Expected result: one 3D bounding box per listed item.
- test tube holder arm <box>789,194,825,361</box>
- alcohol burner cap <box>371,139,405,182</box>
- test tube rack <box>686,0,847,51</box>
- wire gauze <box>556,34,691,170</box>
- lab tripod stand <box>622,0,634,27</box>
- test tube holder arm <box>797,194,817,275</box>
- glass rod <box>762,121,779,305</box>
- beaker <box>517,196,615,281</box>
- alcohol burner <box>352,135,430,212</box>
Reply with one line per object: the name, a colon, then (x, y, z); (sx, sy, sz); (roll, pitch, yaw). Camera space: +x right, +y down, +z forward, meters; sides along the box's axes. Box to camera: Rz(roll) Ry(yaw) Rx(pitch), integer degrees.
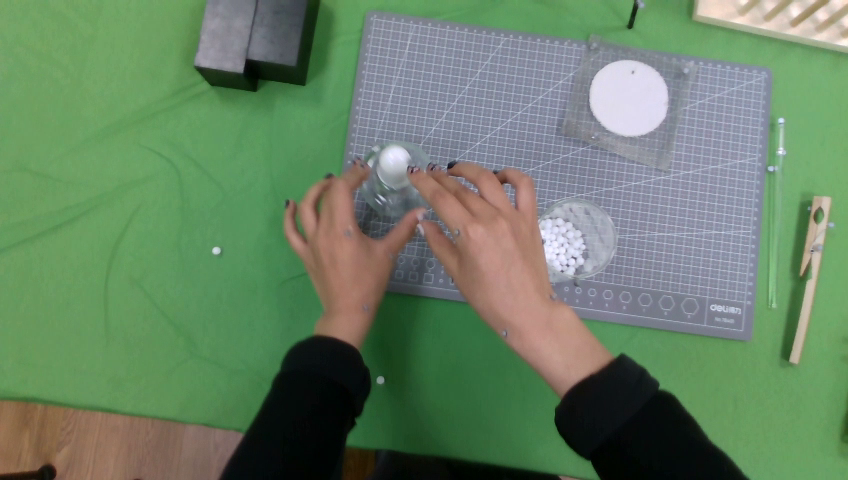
test tube holder arm: (0.402, 0.039, 0.635); (0.013, 0.015, 0.178); (7, 82, 35)
alcohol burner cap: (-0.032, -0.075, 0.552); (0.034, 0.048, 0.033); (1, 79, -5)
test tube rack: (0.416, -0.260, 0.637); (0.242, 0.085, 0.066); (11, 83, 0)
wire gauze: (0.216, -0.152, 0.657); (0.125, 0.011, 0.121); (19, 85, 0)
lab tripod stand: (0.172, -0.296, 0.611); (0.148, 0.131, 0.148); (0, 85, -1)
test tube holder arm: (0.407, -0.006, 0.643); (0.010, 0.015, 0.087); (7, 83, 35)
glass rod: (0.372, -0.030, 0.649); (0.008, 0.008, 0.199); (5, 86, -1)
beaker: (0.130, 0.003, 0.591); (0.084, 0.100, 0.074); (0, 83, 0)
alcohol burner: (-0.033, -0.069, 0.588); (0.078, 0.119, 0.077); (0, 82, 1)
